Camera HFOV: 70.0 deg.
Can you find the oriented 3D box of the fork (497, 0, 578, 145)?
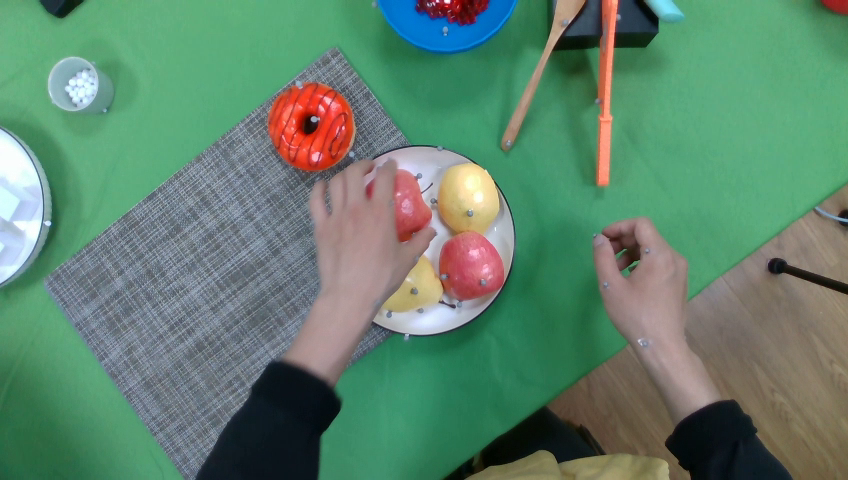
[{"bbox_3d":[0.121,-0.193,0.632,0.028,0.018,0.208,20,113,-5],"label":"fork"}]

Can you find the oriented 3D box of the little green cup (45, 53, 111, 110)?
[{"bbox_3d":[-0.397,-0.180,0.700,0.061,0.038,0.061,0,91,5],"label":"little green cup"}]

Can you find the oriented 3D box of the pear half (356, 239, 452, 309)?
[{"bbox_3d":[-0.017,0.044,0.657,0.110,0.056,0.076,25,98,-4],"label":"pear half"}]

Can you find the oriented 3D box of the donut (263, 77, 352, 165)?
[{"bbox_3d":[-0.129,-0.131,0.672,0.099,0.048,0.099,0,94,7],"label":"donut"}]

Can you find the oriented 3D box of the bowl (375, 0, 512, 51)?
[{"bbox_3d":[0.023,-0.268,0.643,0.151,0.077,0.151,0,92,5],"label":"bowl"}]

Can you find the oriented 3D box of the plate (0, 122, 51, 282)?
[{"bbox_3d":[-0.535,-0.045,0.715,0.207,0.039,0.207,0,92,5],"label":"plate"}]

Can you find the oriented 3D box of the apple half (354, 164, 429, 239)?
[{"bbox_3d":[-0.037,-0.040,0.653,0.074,0.053,0.081,-19,94,6],"label":"apple half"}]

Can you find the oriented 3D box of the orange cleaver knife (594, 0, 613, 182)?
[{"bbox_3d":[0.185,-0.167,0.630,0.012,0.076,0.213,0,117,10],"label":"orange cleaver knife"}]

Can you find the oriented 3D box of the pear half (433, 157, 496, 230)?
[{"bbox_3d":[0.040,-0.043,0.650,0.070,0.031,0.088,-2,105,29],"label":"pear half"}]

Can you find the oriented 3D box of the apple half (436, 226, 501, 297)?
[{"bbox_3d":[0.039,0.026,0.647,0.081,0.033,0.081,7,106,26],"label":"apple half"}]

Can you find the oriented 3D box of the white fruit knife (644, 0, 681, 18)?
[{"bbox_3d":[0.187,-0.305,0.610,0.027,0.016,0.207,-34,86,-24],"label":"white fruit knife"}]

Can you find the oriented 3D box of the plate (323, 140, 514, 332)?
[{"bbox_3d":[-0.006,-0.004,0.668,0.209,0.038,0.209,0,92,4],"label":"plate"}]
